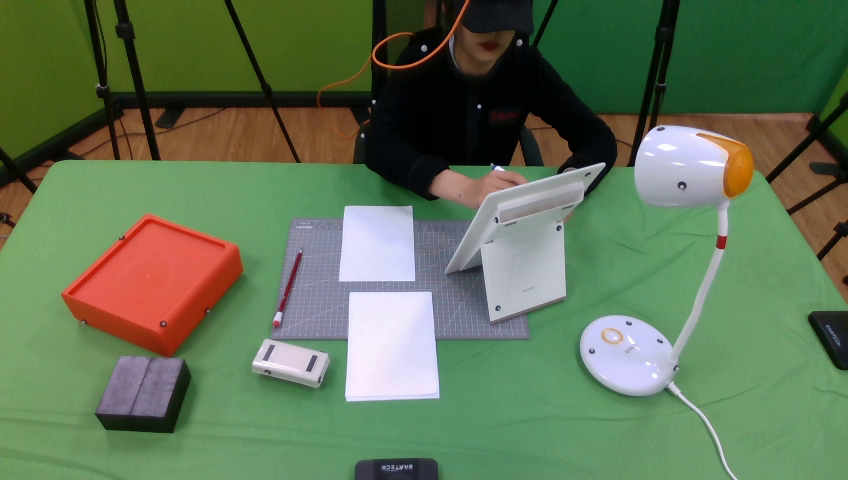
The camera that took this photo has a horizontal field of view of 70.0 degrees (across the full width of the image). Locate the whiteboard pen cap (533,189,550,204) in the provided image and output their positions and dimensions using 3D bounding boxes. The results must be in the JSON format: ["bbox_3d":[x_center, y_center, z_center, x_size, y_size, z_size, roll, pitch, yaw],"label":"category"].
[{"bbox_3d":[0.226,-0.084,1.167,0.033,0.018,0.018,30,39,-27],"label":"whiteboard pen cap"}]

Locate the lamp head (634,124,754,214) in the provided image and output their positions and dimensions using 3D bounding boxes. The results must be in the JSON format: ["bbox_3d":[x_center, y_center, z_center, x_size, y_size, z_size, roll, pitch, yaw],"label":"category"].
[{"bbox_3d":[0.351,-0.089,0.776,0.112,0.113,0.122,-30,30,-28],"label":"lamp head"}]

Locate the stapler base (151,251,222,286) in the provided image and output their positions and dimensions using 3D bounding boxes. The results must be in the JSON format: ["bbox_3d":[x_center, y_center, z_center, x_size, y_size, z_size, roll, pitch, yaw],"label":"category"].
[{"bbox_3d":[-0.432,0.047,1.102,0.130,0.024,0.041,17,33,12],"label":"stapler base"}]

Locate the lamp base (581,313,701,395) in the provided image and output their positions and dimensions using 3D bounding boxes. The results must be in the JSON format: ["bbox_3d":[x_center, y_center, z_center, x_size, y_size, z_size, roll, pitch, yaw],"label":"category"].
[{"bbox_3d":[0.361,0.144,0.973,0.178,0.181,0.160,34,53,23],"label":"lamp base"}]

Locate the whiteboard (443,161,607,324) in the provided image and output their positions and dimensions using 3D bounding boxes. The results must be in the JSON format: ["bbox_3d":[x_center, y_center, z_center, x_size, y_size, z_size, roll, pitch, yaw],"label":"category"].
[{"bbox_3d":[0.185,0.026,1.028,0.217,0.306,0.143,-15,68,-18],"label":"whiteboard"}]

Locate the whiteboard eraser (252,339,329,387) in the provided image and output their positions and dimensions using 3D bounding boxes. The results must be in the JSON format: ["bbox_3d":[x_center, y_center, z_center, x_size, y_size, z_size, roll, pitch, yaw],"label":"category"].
[{"bbox_3d":[-0.215,0.199,0.976,0.112,0.042,0.055,12,45,7],"label":"whiteboard eraser"}]

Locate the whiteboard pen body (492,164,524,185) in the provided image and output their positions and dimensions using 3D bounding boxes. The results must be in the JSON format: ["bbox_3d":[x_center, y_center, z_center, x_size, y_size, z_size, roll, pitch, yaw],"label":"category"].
[{"bbox_3d":[0.177,-0.097,1.088,0.140,0.017,0.017,38,55,26],"label":"whiteboard pen body"}]

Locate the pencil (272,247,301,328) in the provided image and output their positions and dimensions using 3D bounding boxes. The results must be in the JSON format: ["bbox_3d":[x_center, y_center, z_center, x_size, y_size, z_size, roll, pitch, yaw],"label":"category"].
[{"bbox_3d":[-0.248,0.081,1.104,0.012,0.012,0.193,6,45,1],"label":"pencil"}]

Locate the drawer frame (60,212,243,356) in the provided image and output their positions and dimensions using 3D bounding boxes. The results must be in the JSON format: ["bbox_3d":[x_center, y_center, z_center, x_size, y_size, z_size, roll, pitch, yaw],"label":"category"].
[{"bbox_3d":[-0.462,0.070,1.053,0.201,0.083,0.213,18,48,12],"label":"drawer frame"}]

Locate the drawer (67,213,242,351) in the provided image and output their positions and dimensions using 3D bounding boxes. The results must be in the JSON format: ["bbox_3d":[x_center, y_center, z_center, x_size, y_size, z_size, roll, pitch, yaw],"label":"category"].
[{"bbox_3d":[-0.461,0.068,1.056,0.194,0.073,0.211,19,48,13],"label":"drawer"}]

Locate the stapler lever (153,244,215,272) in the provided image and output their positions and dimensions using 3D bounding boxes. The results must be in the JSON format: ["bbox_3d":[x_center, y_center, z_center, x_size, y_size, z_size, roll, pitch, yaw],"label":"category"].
[{"bbox_3d":[-0.430,0.025,1.088,0.118,0.040,0.027,16,34,13],"label":"stapler lever"}]
